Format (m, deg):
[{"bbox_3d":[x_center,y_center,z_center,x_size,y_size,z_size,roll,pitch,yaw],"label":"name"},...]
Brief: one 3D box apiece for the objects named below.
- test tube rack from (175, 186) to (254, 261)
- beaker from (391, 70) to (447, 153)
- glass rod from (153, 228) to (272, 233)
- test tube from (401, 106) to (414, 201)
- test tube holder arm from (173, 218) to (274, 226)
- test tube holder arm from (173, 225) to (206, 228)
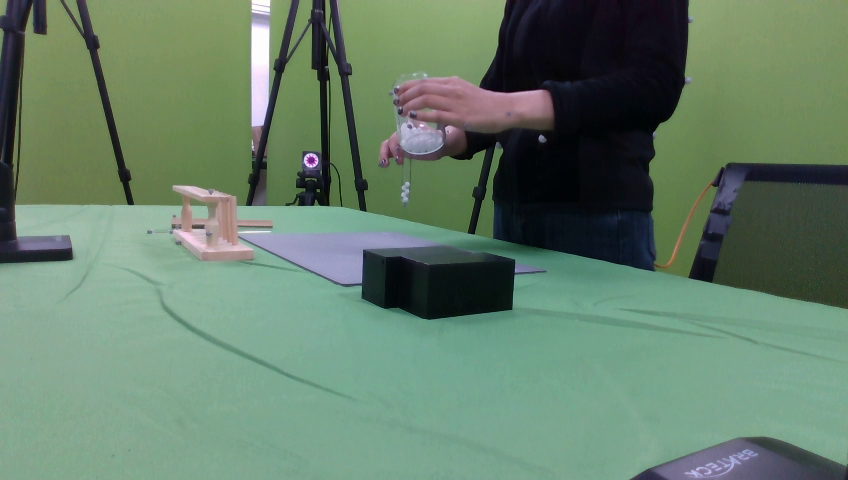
[{"bbox_3d":[-0.314,-0.031,0.889,0.067,0.085,0.241,-2,8,-30],"label":"test tube rack"},{"bbox_3d":[-0.007,-0.185,0.890,0.074,0.100,0.084,-3,-21,-14],"label":"beaker"},{"bbox_3d":[-0.368,-0.017,1.065,0.201,0.008,0.008,-2,8,-27],"label":"glass rod"},{"bbox_3d":[-0.026,-0.136,0.960,0.017,0.150,0.017,3,15,0],"label":"test tube"},{"bbox_3d":[-0.371,-0.033,1.128,0.179,0.015,0.013,-1,-21,-25],"label":"test tube holder arm"},{"bbox_3d":[-0.414,-0.030,1.113,0.088,0.015,0.010,-1,-21,-25],"label":"test tube holder arm"}]
